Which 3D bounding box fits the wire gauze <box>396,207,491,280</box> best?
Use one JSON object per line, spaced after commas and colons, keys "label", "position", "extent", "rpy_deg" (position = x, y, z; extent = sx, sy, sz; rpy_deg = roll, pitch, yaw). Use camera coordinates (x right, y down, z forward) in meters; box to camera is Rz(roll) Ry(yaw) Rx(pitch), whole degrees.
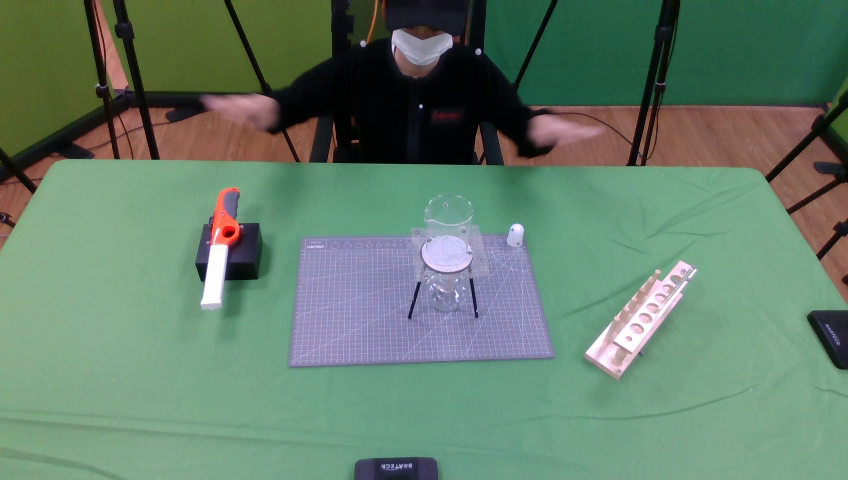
{"label": "wire gauze", "position": [0.032, 0.006, 1.001], "extent": [0.125, 0.011, 0.120], "rpy_deg": [-20, 52, -16]}

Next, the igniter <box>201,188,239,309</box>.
{"label": "igniter", "position": [-0.367, 0.006, 1.095], "extent": [0.057, 0.025, 0.274], "rpy_deg": [-2, 49, -7]}

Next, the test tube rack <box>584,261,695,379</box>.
{"label": "test tube rack", "position": [0.380, 0.127, 1.062], "extent": [0.066, 0.085, 0.242], "rpy_deg": [34, 53, 26]}

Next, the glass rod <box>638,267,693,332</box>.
{"label": "glass rod", "position": [0.394, 0.101, 0.995], "extent": [0.008, 0.200, 0.008], "rpy_deg": [4, 53, -5]}

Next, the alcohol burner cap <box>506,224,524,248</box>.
{"label": "alcohol burner cap", "position": [0.183, -0.010, 1.206], "extent": [0.034, 0.048, 0.033], "rpy_deg": [1, 45, 0]}

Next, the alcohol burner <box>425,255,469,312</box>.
{"label": "alcohol burner", "position": [0.041, 0.072, 1.065], "extent": [0.078, 0.120, 0.077], "rpy_deg": [1, 46, -1]}

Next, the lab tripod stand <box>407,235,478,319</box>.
{"label": "lab tripod stand", "position": [0.032, 0.065, 1.057], "extent": [0.148, 0.132, 0.147], "rpy_deg": [1, 45, -1]}

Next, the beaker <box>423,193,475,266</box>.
{"label": "beaker", "position": [0.036, -0.013, 0.973], "extent": [0.084, 0.101, 0.073], "rpy_deg": [-18, 48, -20]}
